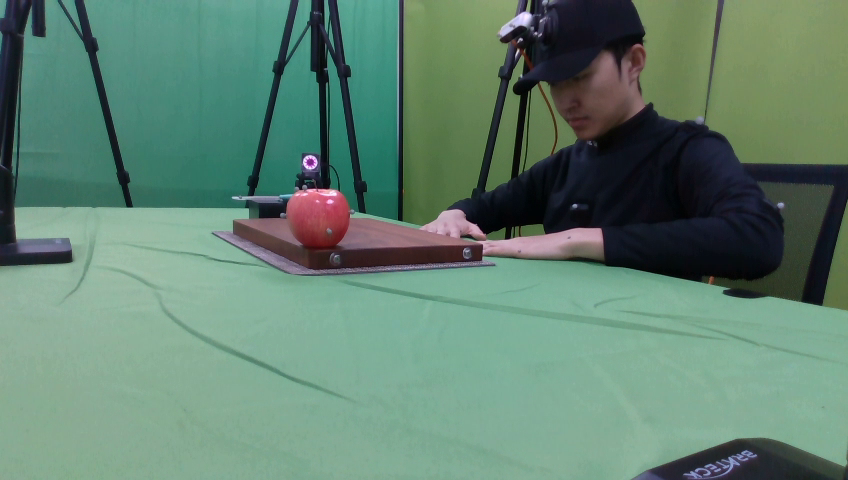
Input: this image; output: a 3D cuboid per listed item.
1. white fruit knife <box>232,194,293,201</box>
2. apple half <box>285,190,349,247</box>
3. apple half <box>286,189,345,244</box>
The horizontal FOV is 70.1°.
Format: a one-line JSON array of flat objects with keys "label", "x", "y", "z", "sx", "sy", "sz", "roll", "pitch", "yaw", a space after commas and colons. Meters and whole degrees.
[{"label": "white fruit knife", "x": -0.299, "y": -0.088, "z": 1.283, "sx": 0.208, "sy": 0.016, "sz": 0.027, "roll": -2, "pitch": -15, "yaw": -17}, {"label": "apple half", "x": -0.132, "y": -0.026, "z": 0.765, "sx": 0.081, "sy": 0.074, "sz": 0.053, "roll": 2, "pitch": 10, "yaw": -22}, {"label": "apple half", "x": -0.146, "y": -0.032, "z": 0.801, "sx": 0.081, "sy": 0.081, "sz": 0.032, "roll": 0, "pitch": 11, "yaw": -22}]
